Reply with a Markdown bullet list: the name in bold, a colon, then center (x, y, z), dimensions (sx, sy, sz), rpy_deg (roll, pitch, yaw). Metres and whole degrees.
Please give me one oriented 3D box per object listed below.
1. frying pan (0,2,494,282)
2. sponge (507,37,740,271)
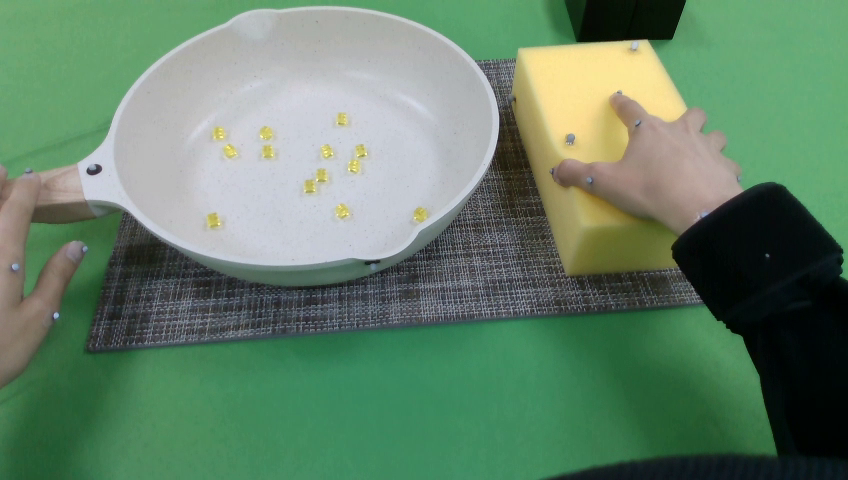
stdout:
- **frying pan**: center (-0.185, -0.057, 0.445), dimensions (0.489, 0.103, 0.303), rpy_deg (-16, 53, -22)
- **sponge**: center (0.148, -0.078, 0.494), dimensions (0.118, 0.061, 0.204), rpy_deg (-6, 53, -5)
